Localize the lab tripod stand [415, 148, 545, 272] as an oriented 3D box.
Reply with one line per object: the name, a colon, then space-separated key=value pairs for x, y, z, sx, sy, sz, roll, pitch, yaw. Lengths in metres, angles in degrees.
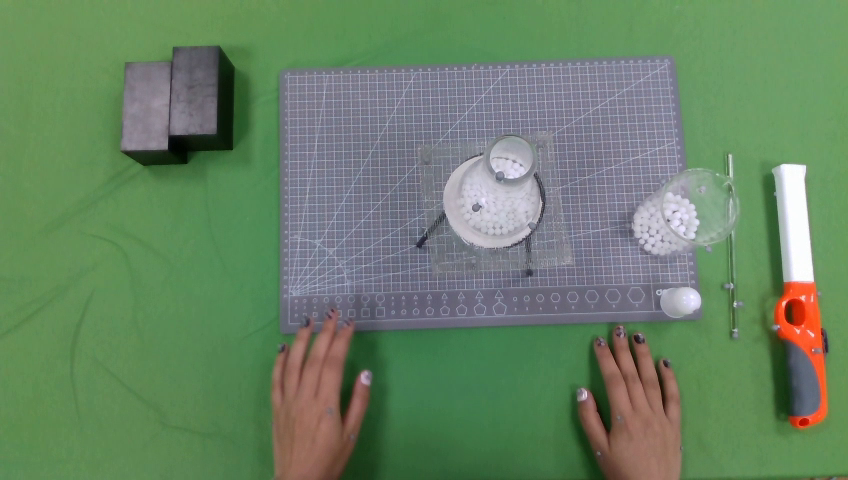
lab tripod stand: x=0.060 y=-0.025 z=0.598 sx=0.148 sy=0.132 sz=0.148 roll=0 pitch=82 yaw=1

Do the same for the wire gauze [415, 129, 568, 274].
wire gauze: x=0.059 y=-0.034 z=0.533 sx=0.125 sy=0.011 sz=0.121 roll=-6 pitch=83 yaw=-3

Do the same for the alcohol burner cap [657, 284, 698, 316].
alcohol burner cap: x=0.266 y=0.060 z=0.630 sx=0.034 sy=0.048 sz=0.033 roll=0 pitch=80 yaw=1

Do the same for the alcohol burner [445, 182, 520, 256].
alcohol burner: x=0.060 y=-0.025 z=0.609 sx=0.078 sy=0.119 sz=0.077 roll=0 pitch=79 yaw=2

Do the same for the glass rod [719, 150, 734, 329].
glass rod: x=0.331 y=-0.003 z=0.661 sx=0.008 sy=0.008 sz=0.199 roll=2 pitch=80 yaw=0

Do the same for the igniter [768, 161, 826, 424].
igniter: x=0.392 y=0.052 z=0.641 sx=0.057 sy=0.025 sz=0.275 roll=2 pitch=81 yaw=-9

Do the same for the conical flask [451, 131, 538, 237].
conical flask: x=0.060 y=-0.048 z=0.475 sx=0.075 sy=0.122 sz=0.075 roll=0 pitch=80 yaw=1

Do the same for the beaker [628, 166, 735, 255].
beaker: x=0.257 y=-0.027 z=0.615 sx=0.084 sy=0.100 sz=0.074 roll=-39 pitch=82 yaw=-6
